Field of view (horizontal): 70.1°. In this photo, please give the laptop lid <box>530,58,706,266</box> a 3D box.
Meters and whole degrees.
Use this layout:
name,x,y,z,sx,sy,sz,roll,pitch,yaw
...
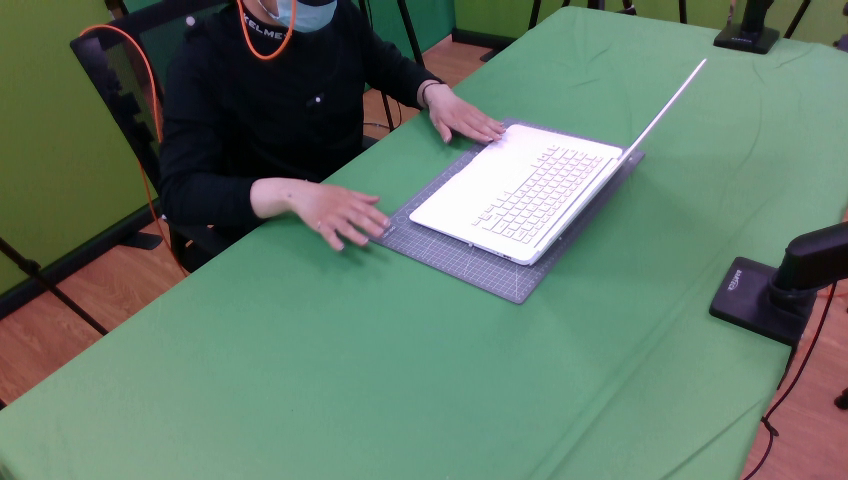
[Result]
name,x,y,z,sx,sy,sz,roll,pitch,yaw
laptop lid,0.293,-0.118,0.905,0.013,0.241,0.357,40,53,9

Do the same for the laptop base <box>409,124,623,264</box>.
name,x,y,z,sx,sy,sz,roll,pitch,yaw
laptop base,0.168,-0.095,1.057,0.233,0.023,0.355,20,47,33
